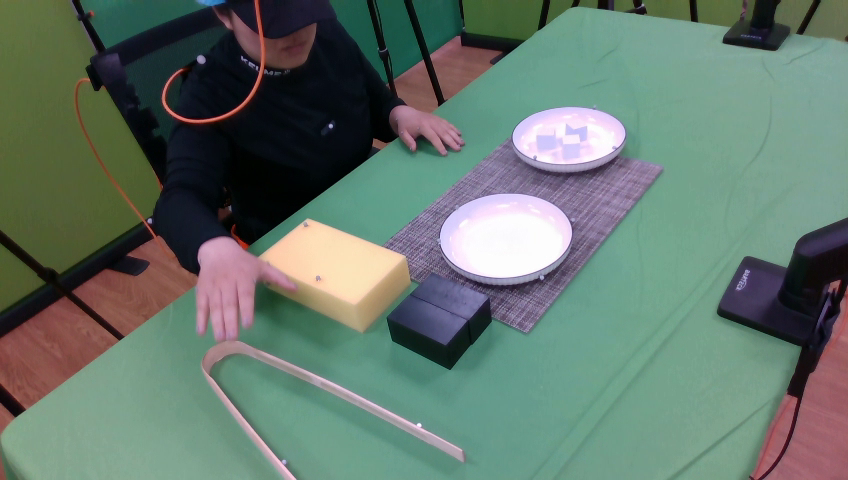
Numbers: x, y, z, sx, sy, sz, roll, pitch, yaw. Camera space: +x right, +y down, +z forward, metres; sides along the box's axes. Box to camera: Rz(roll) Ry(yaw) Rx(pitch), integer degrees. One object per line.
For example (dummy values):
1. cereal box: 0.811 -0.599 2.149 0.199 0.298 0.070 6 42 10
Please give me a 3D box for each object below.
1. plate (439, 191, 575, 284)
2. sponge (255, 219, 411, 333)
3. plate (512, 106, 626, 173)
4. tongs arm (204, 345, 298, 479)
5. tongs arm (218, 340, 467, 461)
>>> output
1. plate: 0.129 -0.001 0.942 0.207 0.039 0.206 -5 40 5
2. sponge: -0.139 0.048 0.922 0.205 0.061 0.118 19 47 30
3. plate: 0.269 -0.185 1.132 0.209 0.038 0.208 -5 40 5
4. tongs arm: -0.170 0.238 0.721 0.381 0.026 0.051 28 52 37
5. tongs arm: -0.117 0.196 0.767 0.385 0.028 0.028 16 49 28
